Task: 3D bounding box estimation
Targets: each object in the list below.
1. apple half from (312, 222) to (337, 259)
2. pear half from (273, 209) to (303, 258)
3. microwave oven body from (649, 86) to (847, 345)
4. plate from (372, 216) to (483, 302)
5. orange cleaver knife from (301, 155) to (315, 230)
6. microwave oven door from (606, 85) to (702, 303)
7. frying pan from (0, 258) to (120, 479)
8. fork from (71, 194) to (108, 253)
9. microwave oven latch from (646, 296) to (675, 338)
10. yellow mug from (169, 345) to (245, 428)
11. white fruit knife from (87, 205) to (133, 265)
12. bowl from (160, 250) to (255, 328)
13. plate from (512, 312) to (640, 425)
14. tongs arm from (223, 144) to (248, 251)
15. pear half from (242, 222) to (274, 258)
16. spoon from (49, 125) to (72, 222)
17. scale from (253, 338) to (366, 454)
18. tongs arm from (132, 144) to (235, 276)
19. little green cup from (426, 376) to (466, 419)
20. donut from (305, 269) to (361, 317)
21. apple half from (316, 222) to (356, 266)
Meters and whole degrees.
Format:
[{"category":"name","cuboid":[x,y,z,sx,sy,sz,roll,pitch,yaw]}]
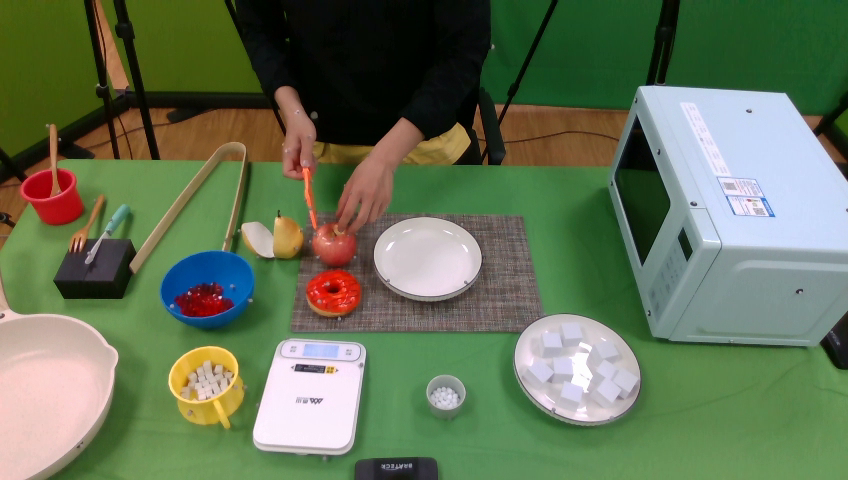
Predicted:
[{"category":"apple half","cuboid":[-0.190,-0.001,1.143,0.032,0.081,0.081,29,51,19]},{"category":"pear half","cuboid":[-0.256,-0.016,1.134,0.056,0.110,0.076,-3,49,-8]},{"category":"microwave oven body","cuboid":[0.567,-0.053,1.118,0.326,0.261,0.439,2,45,-1]},{"category":"plate","cuboid":[0.006,0.038,1.145,0.209,0.038,0.208,2,46,-2]},{"category":"orange cleaver knife","cuboid":[-0.207,-0.089,1.088,0.012,0.077,0.210,-11,32,-7]},{"category":"microwave oven door","cuboid":[0.422,-0.094,1.140,0.039,0.245,0.353,2,46,-1]},{"category":"frying pan","cuboid":[-0.647,0.164,0.936,0.307,0.103,0.485,-19,58,-22]},{"category":"fork","cuboid":[-0.634,-0.036,1.158,0.028,0.019,0.206,-7,31,-8]},{"category":"microwave oven latch","cuboid":[0.412,0.134,1.061,0.030,0.029,0.078,4,45,1]},{"category":"yellow mug","cuboid":[-0.322,0.230,0.922,0.100,0.064,0.130,-24,53,-25]},{"category":"white fruit knife","cuboid":[-0.584,-0.013,1.129,0.016,0.027,0.206,-1,32,-4]},{"category":"bowl","cuboid":[-0.362,0.098,1.040,0.151,0.077,0.150,2,45,-2]},{"category":"plate","cuboid":[0.246,0.213,0.999,0.208,0.039,0.206,2,46,-2]},{"category":"tongs arm","cuboid":[-0.397,-0.073,1.232,0.051,0.027,0.382,-4,45,1]},{"category":"pear half","cuboid":[-0.318,0.002,1.144,0.031,0.088,0.070,-32,44,19]},{"category":"spoon","cuboid":[-0.718,-0.131,1.189,0.041,0.021,0.193,-4,90,-6]},{"category":"scale","cuboid":[-0.175,0.236,0.951,0.149,0.032,0.199,4,45,-1]},{"category":"tongs arm","cuboid":[-0.484,-0.075,1.237,0.028,0.028,0.385,5,45,14]},{"category":"little green cup","cuboid":[0.033,0.248,0.950,0.061,0.039,0.061,2,46,-2]},{"category":"donut","cuboid":[-0.160,0.094,1.075,0.099,0.048,0.098,4,46,-3]},{"category":"apple half","cuboid":[-0.157,0.015,1.132,0.053,0.075,0.080,28,47,18]}]
